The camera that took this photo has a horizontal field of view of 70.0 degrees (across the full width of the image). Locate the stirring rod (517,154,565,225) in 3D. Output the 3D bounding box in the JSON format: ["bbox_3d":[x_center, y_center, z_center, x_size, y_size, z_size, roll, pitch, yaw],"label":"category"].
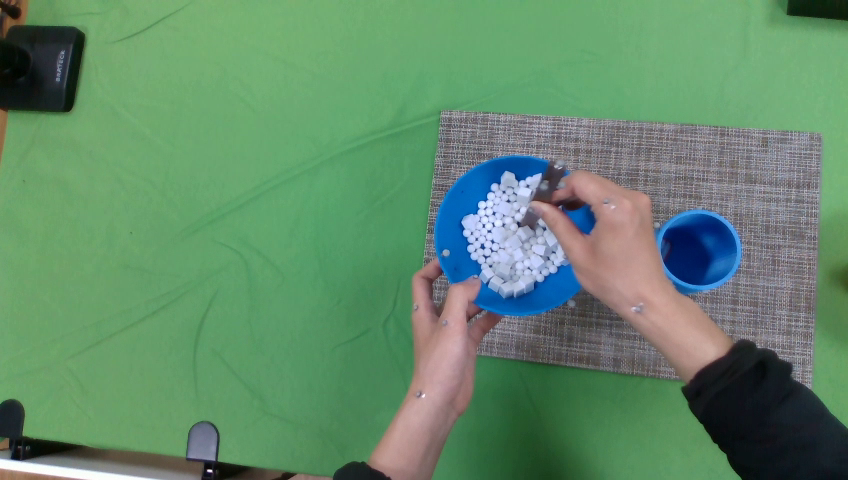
[{"bbox_3d":[0.096,-0.038,0.513,0.014,0.177,0.006,18,78,6],"label":"stirring rod"}]

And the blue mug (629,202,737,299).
[{"bbox_3d":[0.267,0.021,0.658,0.082,0.106,0.116,44,90,11],"label":"blue mug"}]

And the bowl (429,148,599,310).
[{"bbox_3d":[0.084,-0.004,0.578,0.151,0.077,0.150,-1,78,6],"label":"bowl"}]
